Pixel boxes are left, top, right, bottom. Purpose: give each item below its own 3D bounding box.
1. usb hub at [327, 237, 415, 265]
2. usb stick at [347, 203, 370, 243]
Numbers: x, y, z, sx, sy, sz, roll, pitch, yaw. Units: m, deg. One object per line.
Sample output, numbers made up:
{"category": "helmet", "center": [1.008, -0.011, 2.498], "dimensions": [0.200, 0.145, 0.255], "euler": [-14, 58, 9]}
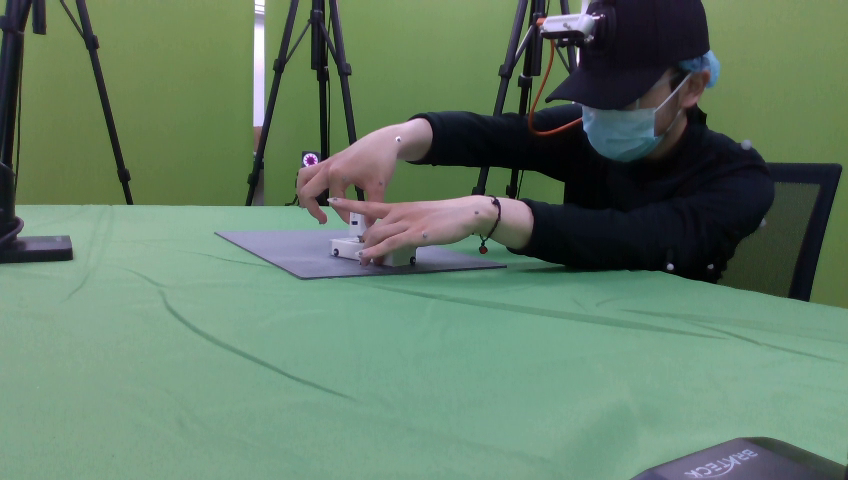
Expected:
{"category": "usb hub", "center": [-0.075, 0.015, 0.837], "dimensions": [0.124, 0.025, 0.050], "euler": [7, 8, 39]}
{"category": "usb stick", "center": [-0.089, -0.021, 0.829], "dimensions": [0.021, 0.059, 0.027], "euler": [5, 6, 37]}
